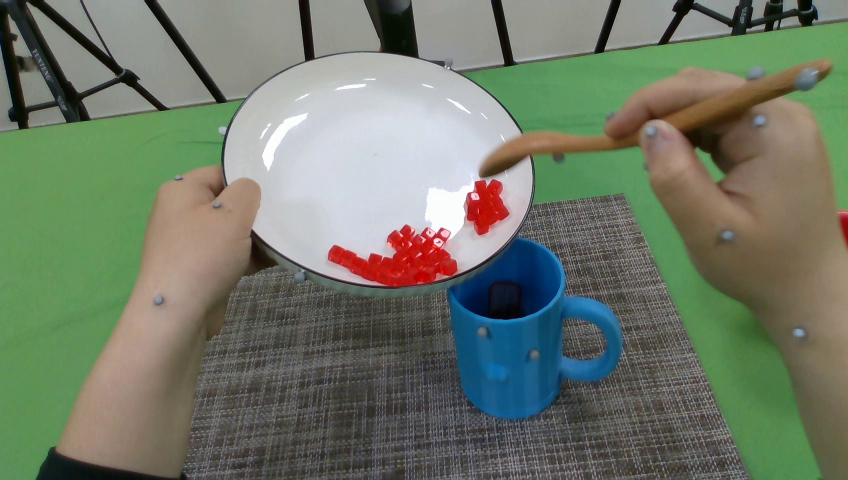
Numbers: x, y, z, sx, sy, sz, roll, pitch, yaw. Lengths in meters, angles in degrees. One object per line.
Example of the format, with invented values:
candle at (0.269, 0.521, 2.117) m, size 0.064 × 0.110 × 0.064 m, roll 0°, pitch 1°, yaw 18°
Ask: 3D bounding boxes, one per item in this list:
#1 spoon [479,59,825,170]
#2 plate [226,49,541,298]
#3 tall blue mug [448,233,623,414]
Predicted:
spoon at (0.086, -0.052, 0.283) m, size 0.042 × 0.022 × 0.192 m, roll -16°, pitch 9°, yaw -28°
plate at (-0.026, -0.048, 0.416) m, size 0.208 × 0.039 × 0.205 m, roll 4°, pitch 56°, yaw -6°
tall blue mug at (0.074, 0.057, 0.421) m, size 0.107 × 0.109 × 0.077 m, roll -11°, pitch 42°, yaw -1°
